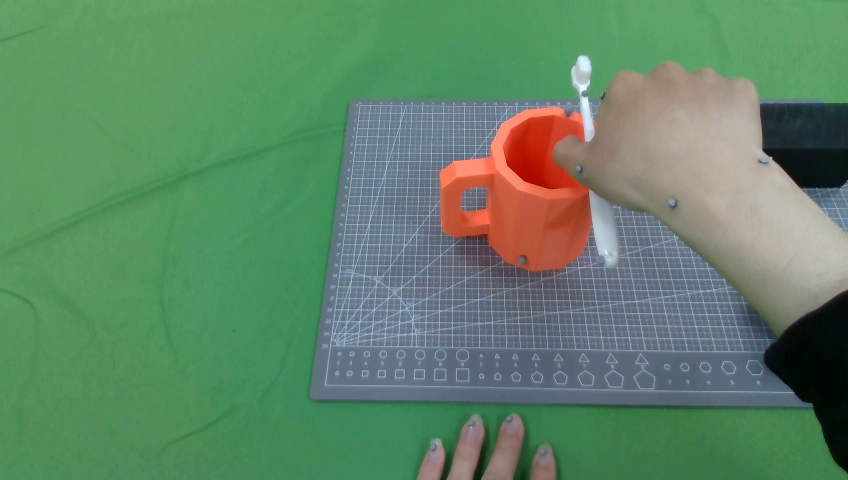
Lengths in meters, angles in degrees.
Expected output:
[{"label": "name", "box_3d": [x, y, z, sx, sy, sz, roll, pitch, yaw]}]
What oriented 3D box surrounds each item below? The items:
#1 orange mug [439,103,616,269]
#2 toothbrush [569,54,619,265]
[{"label": "orange mug", "box_3d": [0.074, -0.037, 0.460, 0.126, 0.101, 0.082, -5, 57, -6]}, {"label": "toothbrush", "box_3d": [0.115, -0.062, 0.412, 0.014, 0.017, 0.180, 5, 57, -5]}]
